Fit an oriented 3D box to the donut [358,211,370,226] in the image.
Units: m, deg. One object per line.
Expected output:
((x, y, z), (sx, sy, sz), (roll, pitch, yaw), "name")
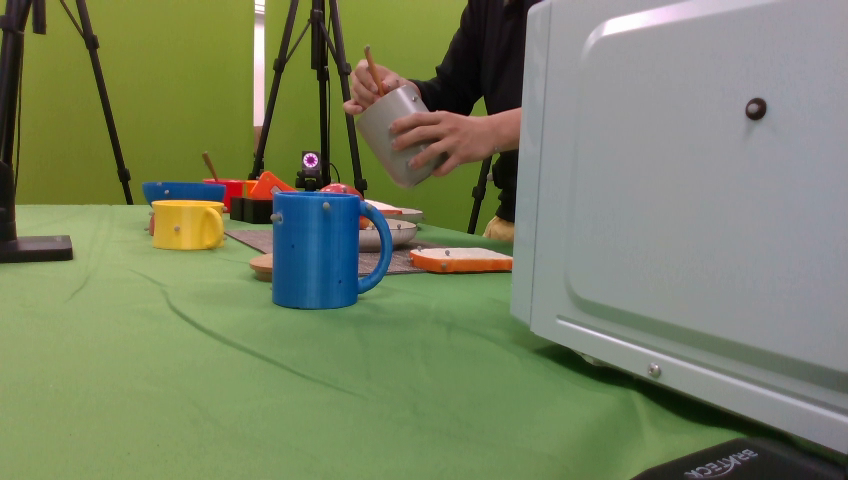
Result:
((-0.132, -0.042, 0.959), (0.099, 0.048, 0.099), (2, 7, 0), "donut")

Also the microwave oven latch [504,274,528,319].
((0.100, 0.041, 0.470), (0.079, 0.029, 0.030), (-1, 7, -27), "microwave oven latch")

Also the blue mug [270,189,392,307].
((-0.090, 0.005, 0.588), (0.117, 0.106, 0.082), (1, 7, -11), "blue mug")

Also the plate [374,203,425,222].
((-0.102, -0.053, 1.299), (0.209, 0.038, 0.209), (2, 8, 0), "plate")

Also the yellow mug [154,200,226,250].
((-0.337, -0.023, 0.899), (0.130, 0.064, 0.100), (8, 9, 34), "yellow mug")

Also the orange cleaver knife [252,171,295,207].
((-0.283, -0.087, 1.343), (0.212, 0.077, 0.012), (24, -16, -41), "orange cleaver knife")

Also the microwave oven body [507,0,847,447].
((0.331, -0.042, 0.425), (0.444, 0.260, 0.324), (-2, 8, -31), "microwave oven body")

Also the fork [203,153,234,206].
((-0.480, -0.135, 1.412), (0.028, 0.018, 0.207), (0, -34, -1), "fork")

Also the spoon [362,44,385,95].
((-0.061, -0.199, 0.915), (0.022, 0.193, 0.041), (-15, 10, -7), "spoon")

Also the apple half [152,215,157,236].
((-0.415, -0.034, 1.017), (0.081, 0.053, 0.074), (1, 10, -8), "apple half")

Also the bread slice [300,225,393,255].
((-0.116, -0.002, 0.969), (0.106, 0.018, 0.135), (3, 16, 39), "bread slice")

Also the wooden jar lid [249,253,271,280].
((-0.148, 0.028, 0.708), (0.108, 0.020, 0.108), (-1, 9, 0), "wooden jar lid")

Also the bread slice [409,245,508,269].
((0.048, 0.021, 0.816), (0.132, 0.019, 0.104), (0, 7, -24), "bread slice")

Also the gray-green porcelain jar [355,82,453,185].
((-0.026, -0.156, 0.914), (0.106, 0.126, 0.106), (-35, 1, 1), "gray-green porcelain jar")

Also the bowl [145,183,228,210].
((-0.459, -0.069, 1.175), (0.151, 0.077, 0.151), (3, 7, 0), "bowl")

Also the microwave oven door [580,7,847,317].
((0.295, -0.067, 0.570), (0.358, 0.243, 0.039), (-3, 9, -31), "microwave oven door")

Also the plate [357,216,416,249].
((-0.116, -0.014, 0.967), (0.208, 0.039, 0.207), (2, 7, 0), "plate")

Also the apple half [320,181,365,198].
((-0.130, -0.077, 0.952), (0.081, 0.033, 0.081), (4, 14, -1), "apple half")
